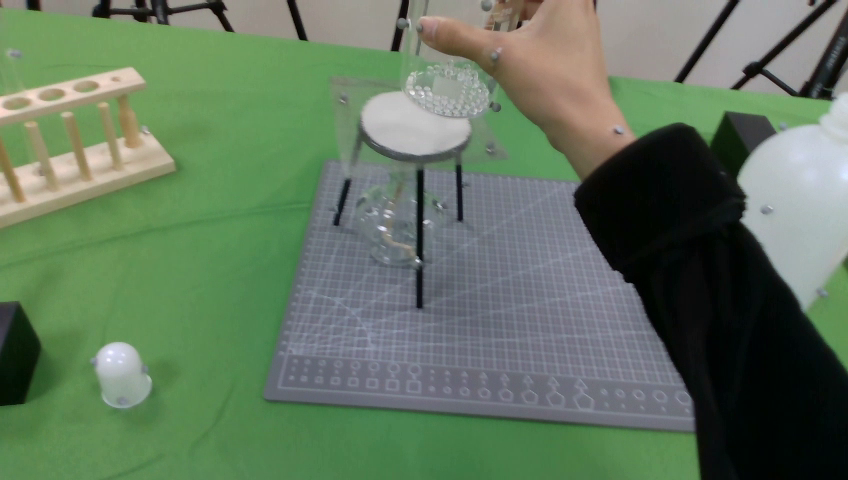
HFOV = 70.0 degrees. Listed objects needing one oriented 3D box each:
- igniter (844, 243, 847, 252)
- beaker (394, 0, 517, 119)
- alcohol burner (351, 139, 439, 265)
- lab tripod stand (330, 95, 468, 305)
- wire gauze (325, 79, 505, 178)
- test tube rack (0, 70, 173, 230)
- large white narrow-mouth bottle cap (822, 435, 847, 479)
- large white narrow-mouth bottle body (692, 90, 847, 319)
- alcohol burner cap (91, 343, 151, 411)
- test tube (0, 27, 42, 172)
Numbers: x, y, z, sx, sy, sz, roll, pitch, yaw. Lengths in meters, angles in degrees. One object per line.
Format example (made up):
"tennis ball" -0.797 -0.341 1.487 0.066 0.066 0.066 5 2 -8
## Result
"igniter" 0.434 0.080 0.527 0.057 0.025 0.274 14 42 -9
"beaker" 0.017 -0.138 0.399 0.084 0.101 0.073 3 46 -9
"alcohol burner" -0.023 -0.036 0.522 0.078 0.120 0.077 5 41 -4
"lab tripod stand" -0.013 -0.041 0.514 0.148 0.132 0.147 5 43 -5
"wire gauze" -0.011 -0.092 0.469 0.122 0.011 0.123 -4 45 -13
"test tube rack" -0.363 -0.071 0.538 0.243 0.086 0.066 -26 52 -31
"large white narrow-mouth bottle cap" 0.305 0.160 0.428 0.038 0.024 0.037 4 42 -3
"large white narrow-mouth bottle body" 0.304 -0.030 0.501 0.102 0.196 0.101 3 42 -3
"alcohol burner cap" -0.209 0.092 0.415 0.034 0.048 0.033 5 43 -4
"test tube" -0.355 -0.125 0.524 0.017 0.151 0.017 4 38 -3
